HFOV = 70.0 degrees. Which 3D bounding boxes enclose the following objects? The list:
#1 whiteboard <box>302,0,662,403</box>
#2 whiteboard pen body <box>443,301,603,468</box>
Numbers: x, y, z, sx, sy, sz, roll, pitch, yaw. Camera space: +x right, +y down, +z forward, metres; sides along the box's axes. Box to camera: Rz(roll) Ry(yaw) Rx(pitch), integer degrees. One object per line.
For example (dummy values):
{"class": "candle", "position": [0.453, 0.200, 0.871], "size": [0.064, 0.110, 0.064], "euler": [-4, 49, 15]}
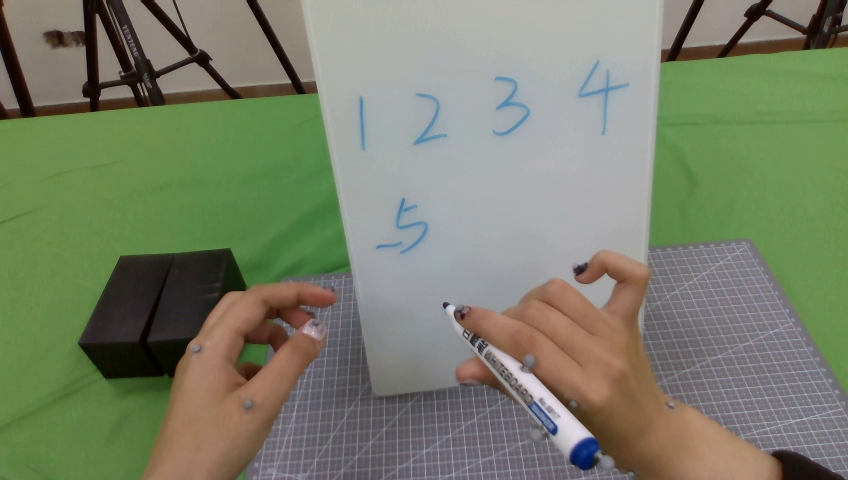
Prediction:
{"class": "whiteboard", "position": [0.048, -0.050, 0.477], "size": [0.217, 0.307, 0.142], "euler": [-6, 25, 0]}
{"class": "whiteboard pen body", "position": [0.043, 0.067, 0.319], "size": [0.017, 0.017, 0.139], "euler": [-22, 32, -17]}
